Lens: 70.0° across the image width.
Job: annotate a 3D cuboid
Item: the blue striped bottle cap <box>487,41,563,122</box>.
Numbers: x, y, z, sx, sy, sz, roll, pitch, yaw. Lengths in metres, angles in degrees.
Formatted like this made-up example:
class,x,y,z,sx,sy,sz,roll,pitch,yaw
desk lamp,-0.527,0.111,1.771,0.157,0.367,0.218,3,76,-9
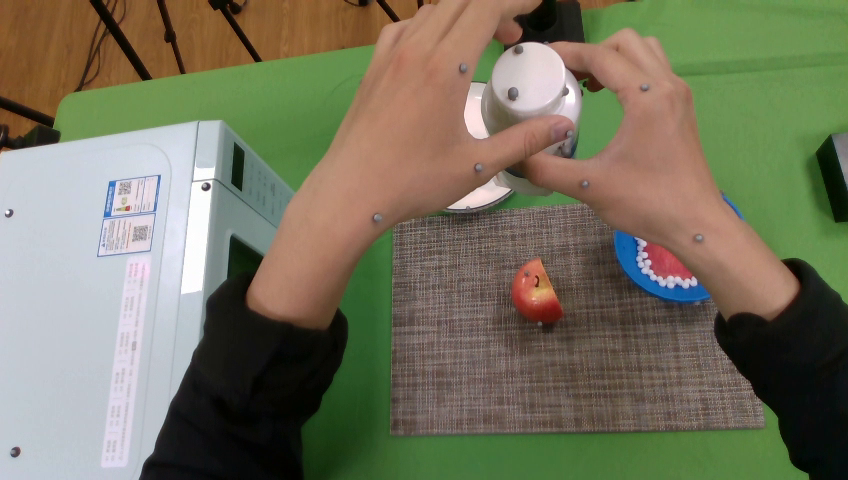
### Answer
class,x,y,z,sx,sy,sz,roll,pitch,yaw
blue striped bottle cap,0.059,-0.093,0.356,0.044,0.021,0.044,-3,79,14

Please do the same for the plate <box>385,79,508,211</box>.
class,x,y,z,sx,sy,sz,roll,pitch,yaw
plate,0.048,-0.135,0.882,0.207,0.039,0.206,-4,71,11

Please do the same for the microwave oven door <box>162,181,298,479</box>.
class,x,y,z,sx,sy,sz,roll,pitch,yaw
microwave oven door,-0.216,0.140,0.714,0.039,0.246,0.353,-7,70,11

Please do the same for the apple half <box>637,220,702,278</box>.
class,x,y,z,sx,sy,sz,roll,pitch,yaw
apple half,0.304,0.008,0.745,0.081,0.033,0.080,-4,69,11

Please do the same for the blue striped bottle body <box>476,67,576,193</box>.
class,x,y,z,sx,sy,sz,roll,pitch,yaw
blue striped bottle body,0.070,-0.079,0.410,0.063,0.121,0.063,-3,76,11

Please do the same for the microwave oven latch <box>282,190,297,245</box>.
class,x,y,z,sx,sy,sz,roll,pitch,yaw
microwave oven latch,-0.201,-0.032,0.881,0.030,0.030,0.078,-6,71,10

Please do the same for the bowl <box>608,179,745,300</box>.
class,x,y,z,sx,sy,sz,roll,pitch,yaw
bowl,0.304,0.008,0.749,0.151,0.077,0.150,-4,70,12

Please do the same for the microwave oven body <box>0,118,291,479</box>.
class,x,y,z,sx,sy,sz,roll,pitch,yaw
microwave oven body,-0.360,0.118,0.759,0.325,0.262,0.438,-6,71,10

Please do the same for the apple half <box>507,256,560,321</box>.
class,x,y,z,sx,sy,sz,roll,pitch,yaw
apple half,0.133,0.068,0.769,0.053,0.075,0.080,-25,71,8
